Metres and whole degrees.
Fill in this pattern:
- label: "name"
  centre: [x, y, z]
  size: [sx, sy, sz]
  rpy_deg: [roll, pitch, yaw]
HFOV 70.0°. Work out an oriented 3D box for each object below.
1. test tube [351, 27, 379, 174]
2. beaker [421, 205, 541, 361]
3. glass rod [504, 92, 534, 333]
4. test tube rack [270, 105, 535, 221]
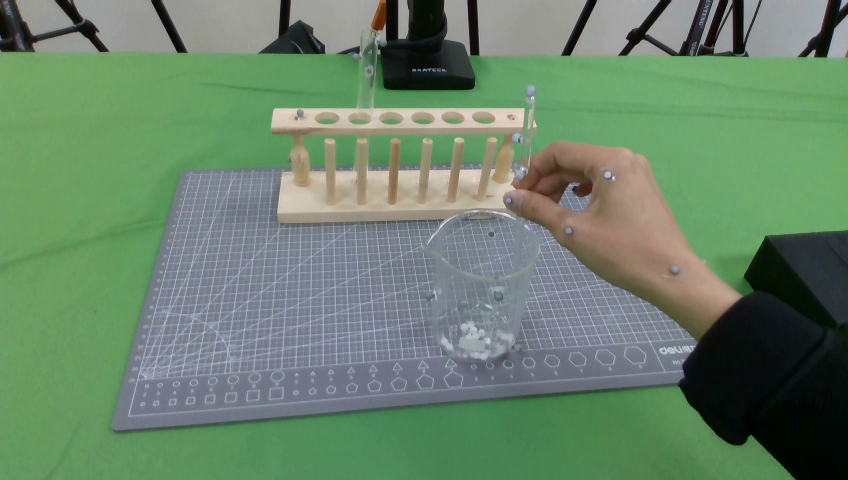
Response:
- label: "test tube"
  centre: [-0.055, -0.120, 0.550]
  size: [0.017, 0.151, 0.017]
  rpy_deg: [6, 44, -5]
- label: "beaker"
  centre: [0.038, 0.036, 0.452]
  size: [0.084, 0.101, 0.073]
  rpy_deg: [-1, 42, -4]
- label: "glass rod"
  centre: [0.064, -0.007, 0.419]
  size: [0.008, 0.201, 0.008]
  rpy_deg: [-1, 38, 1]
- label: "test tube rack"
  centre: [-0.018, -0.074, 0.578]
  size: [0.243, 0.086, 0.066]
  rpy_deg: [-2, 43, -7]
